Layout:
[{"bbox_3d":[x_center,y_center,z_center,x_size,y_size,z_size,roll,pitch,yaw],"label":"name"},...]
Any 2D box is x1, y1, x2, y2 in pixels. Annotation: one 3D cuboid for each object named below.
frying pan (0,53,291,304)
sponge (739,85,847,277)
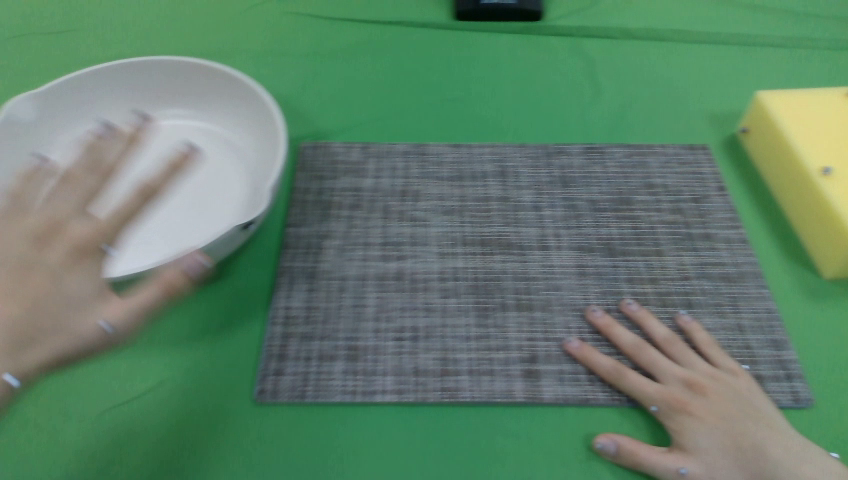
[{"bbox_3d":[-0.322,-0.006,0.521,0.305,0.103,0.486,24,48,17],"label":"frying pan"},{"bbox_3d":[0.422,-0.065,0.606,0.118,0.061,0.204,-4,53,-4],"label":"sponge"}]
